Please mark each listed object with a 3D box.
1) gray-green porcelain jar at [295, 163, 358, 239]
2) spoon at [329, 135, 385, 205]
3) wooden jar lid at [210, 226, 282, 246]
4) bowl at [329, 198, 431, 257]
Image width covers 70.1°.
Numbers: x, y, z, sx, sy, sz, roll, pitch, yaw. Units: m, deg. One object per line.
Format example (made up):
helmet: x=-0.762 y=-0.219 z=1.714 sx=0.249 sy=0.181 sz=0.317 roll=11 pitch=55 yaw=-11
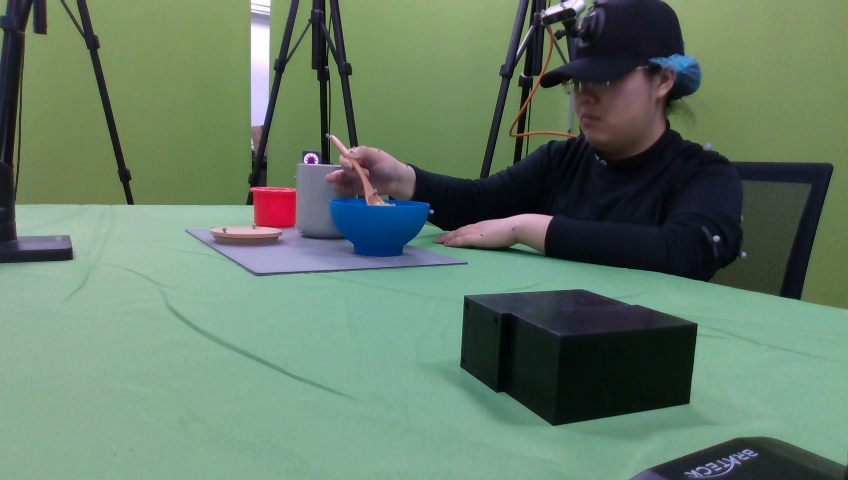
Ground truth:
gray-green porcelain jar: x=-0.170 y=-0.069 z=1.054 sx=0.106 sy=0.126 sz=0.106 roll=3 pitch=8 yaw=0
spoon: x=-0.098 y=-0.100 z=0.928 sx=0.042 sy=0.021 sz=0.193 roll=-2 pitch=51 yaw=-45
wooden jar lid: x=-0.279 y=-0.007 z=0.951 sx=0.108 sy=0.020 sz=0.108 roll=2 pitch=8 yaw=0
bowl: x=-0.066 y=-0.019 z=0.894 sx=0.151 sy=0.077 sz=0.151 roll=3 pitch=7 yaw=0
